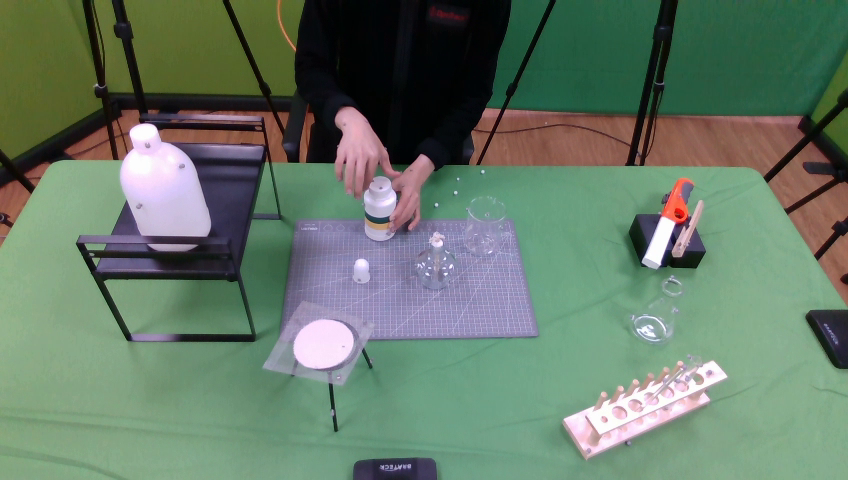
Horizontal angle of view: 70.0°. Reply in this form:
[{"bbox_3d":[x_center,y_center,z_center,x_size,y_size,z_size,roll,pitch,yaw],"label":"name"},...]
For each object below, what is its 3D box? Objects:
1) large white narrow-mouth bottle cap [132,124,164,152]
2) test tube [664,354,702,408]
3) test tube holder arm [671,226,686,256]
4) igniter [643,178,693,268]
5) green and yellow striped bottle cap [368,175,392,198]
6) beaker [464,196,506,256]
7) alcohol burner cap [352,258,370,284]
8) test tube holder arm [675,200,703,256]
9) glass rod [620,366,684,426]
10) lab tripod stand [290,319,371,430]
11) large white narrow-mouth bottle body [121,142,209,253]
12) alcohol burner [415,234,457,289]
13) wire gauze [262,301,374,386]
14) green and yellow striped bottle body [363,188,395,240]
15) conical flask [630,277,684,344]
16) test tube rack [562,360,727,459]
[{"bbox_3d":[-0.370,-0.137,0.812,0.038,0.024,0.037,3,46,-3],"label":"large white narrow-mouth bottle cap"},{"bbox_3d":[0.385,0.215,0.906,0.017,0.151,0.017,-1,49,1],"label":"test tube"},{"bbox_3d":[0.494,0.001,1.167,0.010,0.015,0.087,1,36,42],"label":"test tube holder arm"},{"bbox_3d":[0.488,-0.042,1.205,0.057,0.025,0.276,30,51,11],"label":"igniter"},{"bbox_3d":[-0.084,-0.101,1.137,0.045,0.020,0.045,-1,49,1],"label":"green and yellow striped bottle cap"},{"bbox_3d":[0.117,-0.026,1.174,0.074,0.101,0.083,21,48,15],"label":"beaker"},{"bbox_3d":[-0.117,0.055,1.118,0.034,0.048,0.033,2,46,-2],"label":"alcohol burner cap"},{"bbox_3d":[0.523,-0.025,1.190,0.013,0.015,0.178,1,36,41],"label":"test tube holder arm"},{"bbox_3d":[0.322,0.227,0.866,0.008,0.200,0.008,5,51,-7],"label":"glass rod"},{"bbox_3d":[-0.146,0.194,0.923,0.148,0.132,0.147,1,47,-1],"label":"lab tripod stand"},{"bbox_3d":[-0.378,-0.077,0.875,0.102,0.195,0.101,3,46,-3],"label":"large white narrow-mouth bottle body"},{"bbox_3d":[0.022,0.033,1.099,0.078,0.120,0.077,1,47,-1],"label":"alcohol burner"},{"bbox_3d":[-0.150,0.148,0.873,0.121,0.011,0.124,14,46,12],"label":"wire gauze"},{"bbox_3d":[-0.087,-0.061,1.177,0.063,0.120,0.063,2,46,-2],"label":"green and yellow striped bottle body"},{"bbox_3d":[0.408,0.117,1.045,0.075,0.122,0.075,2,46,-2],"label":"conical flask"},{"bbox_3d":[0.341,0.247,0.940,0.243,0.085,0.066,-16,49,-18],"label":"test tube rack"}]
